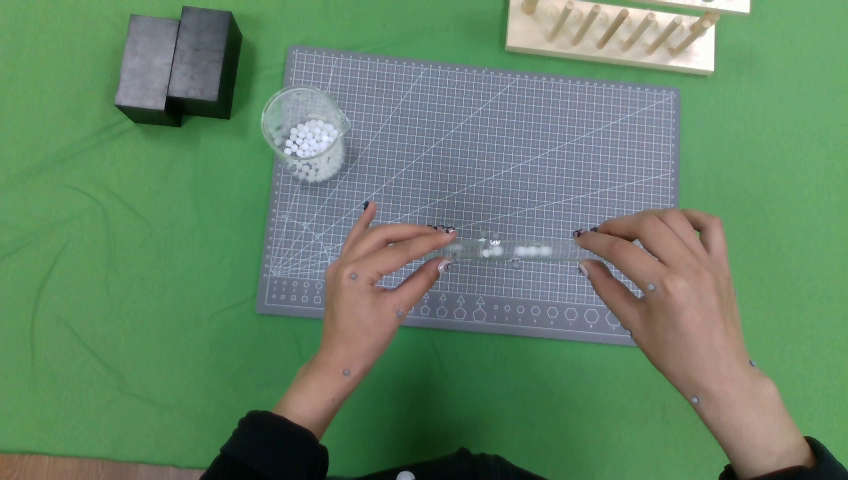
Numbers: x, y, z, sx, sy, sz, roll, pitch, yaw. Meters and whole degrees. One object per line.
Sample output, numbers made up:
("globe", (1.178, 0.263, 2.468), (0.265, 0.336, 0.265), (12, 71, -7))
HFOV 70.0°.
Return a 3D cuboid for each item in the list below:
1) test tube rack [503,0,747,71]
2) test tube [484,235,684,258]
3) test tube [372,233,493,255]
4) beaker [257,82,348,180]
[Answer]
("test tube rack", (0.216, -0.250, 0.669), (0.242, 0.085, 0.066), (6, 81, -3))
("test tube", (0.120, 0.005, 0.455), (0.150, 0.017, 0.017), (1, 81, -1))
("test tube", (0.002, 0.004, 0.513), (0.017, 0.149, 0.017), (0, 90, -39))
("beaker", (-0.117, -0.106, 0.614), (0.084, 0.100, 0.073), (-2, 82, -5))
